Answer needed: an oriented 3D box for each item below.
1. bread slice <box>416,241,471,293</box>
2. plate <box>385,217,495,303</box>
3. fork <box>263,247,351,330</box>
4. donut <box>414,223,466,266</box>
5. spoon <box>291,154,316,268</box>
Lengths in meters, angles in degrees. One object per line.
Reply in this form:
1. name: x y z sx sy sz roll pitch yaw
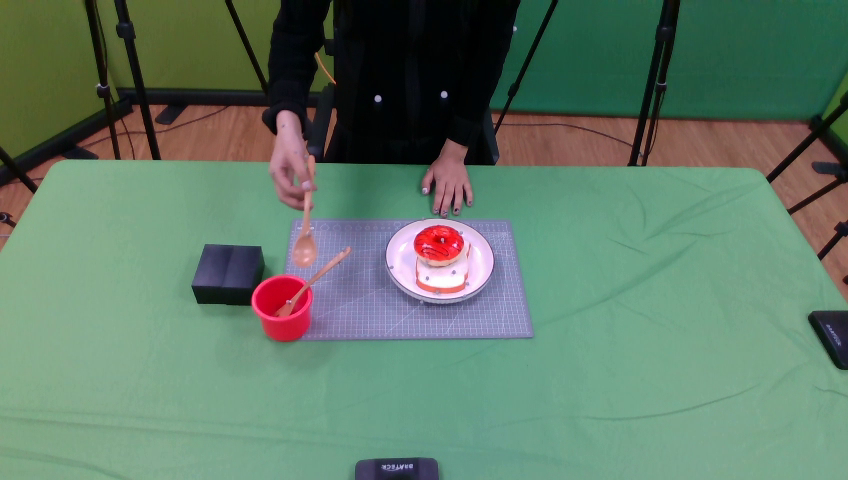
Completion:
1. bread slice: 0.037 0.046 1.144 0.105 0.019 0.131 4 45 2
2. plate: 0.030 0.041 1.145 0.209 0.038 0.208 2 46 -2
3. fork: -0.197 0.081 1.017 0.207 0.019 0.028 -44 51 14
4. donut: 0.030 0.007 1.140 0.099 0.048 0.098 0 42 0
5. spoon: -0.195 -0.050 1.009 0.041 0.021 0.193 3 85 5
